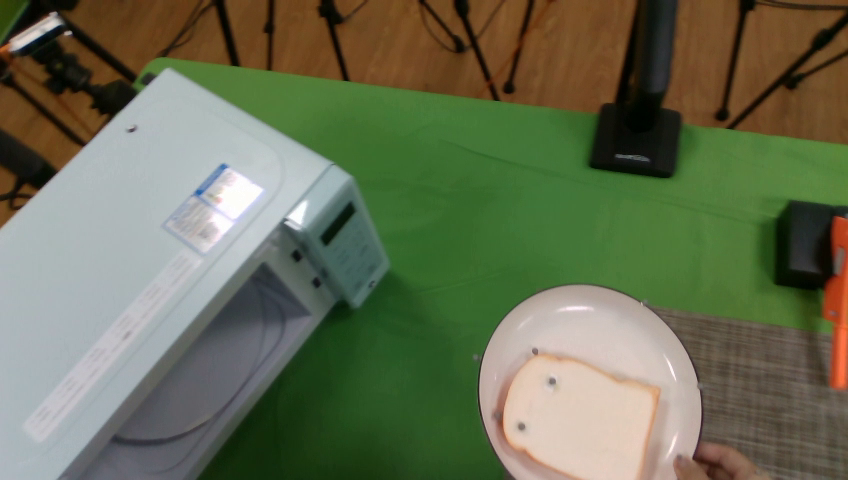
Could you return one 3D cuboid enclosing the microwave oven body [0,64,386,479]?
[{"bbox_3d":[-0.314,0.068,0.739,0.324,0.262,0.440,31,73,20],"label":"microwave oven body"}]

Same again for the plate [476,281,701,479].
[{"bbox_3d":[0.151,0.143,0.572,0.208,0.039,0.206,0,70,-1],"label":"plate"}]

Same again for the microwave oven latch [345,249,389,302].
[{"bbox_3d":[-0.080,0.044,0.825,0.030,0.030,0.079,32,73,20],"label":"microwave oven latch"}]

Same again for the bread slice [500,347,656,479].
[{"bbox_3d":[0.139,0.161,0.563,0.134,0.018,0.106,17,68,7],"label":"bread slice"}]

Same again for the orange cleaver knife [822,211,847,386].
[{"bbox_3d":[0.496,0.067,0.728,0.012,0.077,0.211,5,86,13],"label":"orange cleaver knife"}]
